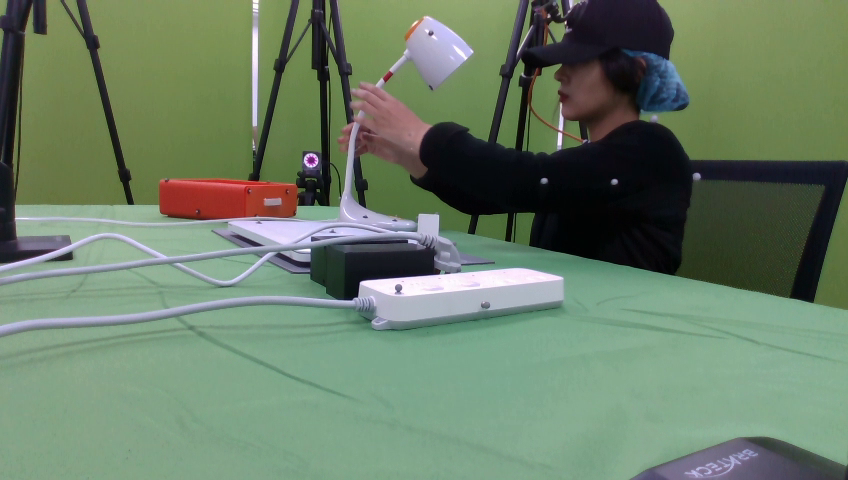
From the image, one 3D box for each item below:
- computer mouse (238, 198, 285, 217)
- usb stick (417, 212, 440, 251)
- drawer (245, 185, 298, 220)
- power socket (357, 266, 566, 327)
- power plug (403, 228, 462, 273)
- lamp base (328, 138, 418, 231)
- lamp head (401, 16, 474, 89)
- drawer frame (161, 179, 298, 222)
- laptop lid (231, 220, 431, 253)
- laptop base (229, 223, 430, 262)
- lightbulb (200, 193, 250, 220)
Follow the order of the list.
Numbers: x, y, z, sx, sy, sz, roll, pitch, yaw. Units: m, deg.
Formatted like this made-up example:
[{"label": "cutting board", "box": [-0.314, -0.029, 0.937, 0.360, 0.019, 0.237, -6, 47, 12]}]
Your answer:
[{"label": "computer mouse", "box": [-0.354, -0.072, 1.325, 0.063, 0.041, 0.117, 3, 3, 11]}, {"label": "usb stick", "box": [0.005, -0.003, 0.721, 0.027, 0.059, 0.021, 0, -3, -2]}, {"label": "drawer", "box": [-0.416, -0.087, 1.329, 0.211, 0.073, 0.195, 4, 8, 18]}, {"label": "power socket", "box": [0.042, 0.049, 0.573, 0.228, 0.032, 0.072, -3, 8, -34]}, {"label": "power plug", "box": [0.006, 0.016, 0.647, 0.073, 0.052, 0.035, 17, 12, -6]}, {"label": "lamp base", "box": [-0.100, -0.112, 1.211, 0.180, 0.180, 0.160, 0, 7, -13]}, {"label": "lamp head", "box": [0.015, -0.371, 1.183, 0.123, 0.112, 0.112, 41, 2, -9]}, {"label": "drawer frame", "box": [-0.419, -0.089, 1.328, 0.213, 0.082, 0.202, 4, 8, 18]}, {"label": "laptop lid", "box": [-0.142, -0.009, 0.942, 0.243, 0.013, 0.355, 1, 7, -31]}, {"label": "laptop base", "box": [-0.145, 0.002, 0.943, 0.237, 0.023, 0.352, 2, 6, -32]}, {"label": "lightbulb", "box": [-0.433, -0.079, 1.319, 0.108, 0.059, 0.059, -17, 13, -16]}]
